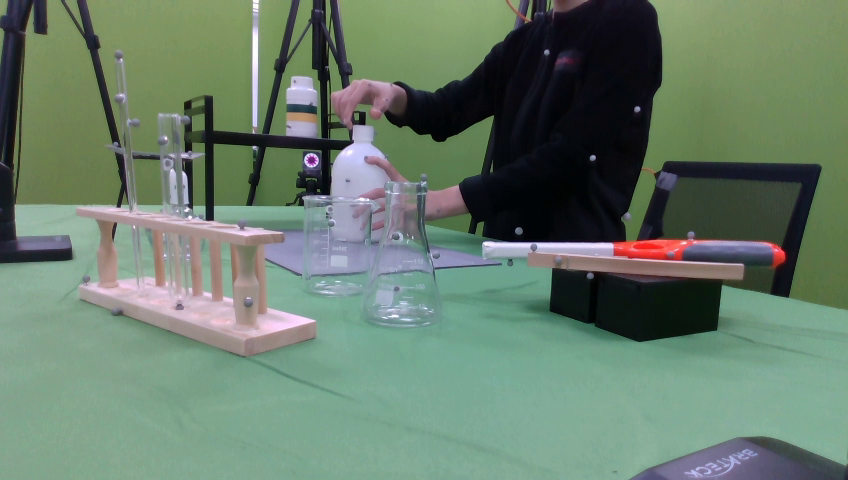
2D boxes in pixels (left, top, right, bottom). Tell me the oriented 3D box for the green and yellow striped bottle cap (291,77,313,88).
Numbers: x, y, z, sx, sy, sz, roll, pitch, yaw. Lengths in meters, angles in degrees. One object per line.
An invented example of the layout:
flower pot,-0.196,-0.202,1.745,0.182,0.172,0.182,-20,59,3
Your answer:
green and yellow striped bottle cap,-0.250,-0.321,1.238,0.045,0.020,0.045,3,6,0

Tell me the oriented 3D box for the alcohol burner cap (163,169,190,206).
alcohol burner cap,-0.321,-0.068,0.782,0.034,0.048,0.034,1,7,0

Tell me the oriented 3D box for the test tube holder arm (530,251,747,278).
test tube holder arm,0.182,0.022,0.523,0.178,0.015,0.013,3,7,12

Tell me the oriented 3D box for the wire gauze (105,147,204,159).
wire gauze,-0.407,-0.131,0.929,0.125,0.011,0.121,2,6,-11

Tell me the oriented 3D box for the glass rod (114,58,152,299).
glass rod,-0.236,-0.044,0.492,0.008,0.199,0.008,0,15,0

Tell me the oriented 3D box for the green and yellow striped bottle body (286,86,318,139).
green and yellow striped bottle body,-0.251,-0.270,1.245,0.063,0.119,0.063,2,7,0

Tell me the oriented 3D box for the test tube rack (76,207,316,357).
test tube rack,-0.196,0.023,0.500,0.241,0.085,0.067,8,9,36

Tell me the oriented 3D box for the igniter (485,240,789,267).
igniter,0.197,0.012,0.585,0.276,0.025,0.057,1,5,12

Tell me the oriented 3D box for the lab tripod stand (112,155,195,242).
lab tripod stand,-0.405,-0.064,0.931,0.148,0.131,0.148,1,7,0

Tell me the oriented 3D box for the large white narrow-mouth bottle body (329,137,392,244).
large white narrow-mouth bottle body,-0.106,-0.095,1.027,0.102,0.194,0.102,4,7,0

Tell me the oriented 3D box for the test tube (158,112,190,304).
test tube,-0.194,-0.022,0.469,0.017,0.150,0.017,2,12,0

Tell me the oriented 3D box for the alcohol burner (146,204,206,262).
alcohol burner,-0.321,-0.032,0.788,0.078,0.119,0.078,1,6,0

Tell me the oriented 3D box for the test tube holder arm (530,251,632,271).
test tube holder arm,0.139,0.019,0.538,0.087,0.015,0.010,3,7,13

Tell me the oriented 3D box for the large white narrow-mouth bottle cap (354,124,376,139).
large white narrow-mouth bottle cap,-0.099,-0.182,1.016,0.038,0.024,0.037,4,7,0

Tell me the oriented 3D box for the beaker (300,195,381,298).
beaker,-0.087,0.006,0.626,0.084,0.100,0.074,1,8,-17

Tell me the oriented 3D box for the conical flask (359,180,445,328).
conical flask,-0.017,0.010,0.522,0.075,0.122,0.075,2,7,0
